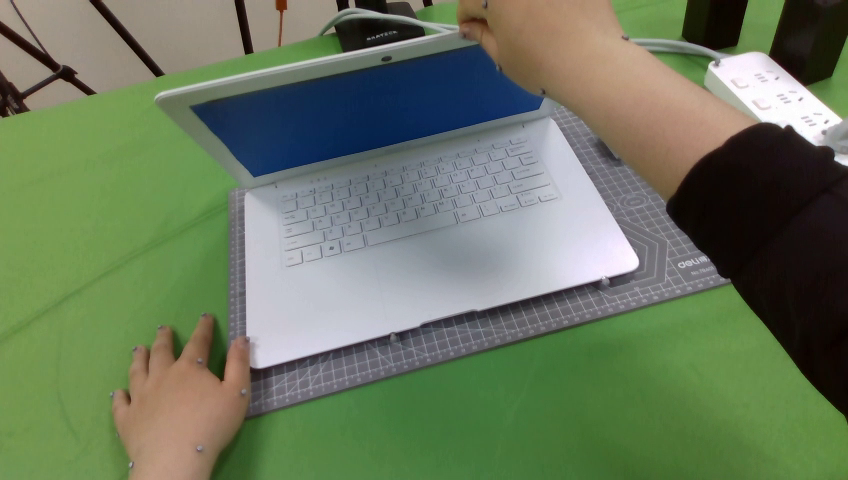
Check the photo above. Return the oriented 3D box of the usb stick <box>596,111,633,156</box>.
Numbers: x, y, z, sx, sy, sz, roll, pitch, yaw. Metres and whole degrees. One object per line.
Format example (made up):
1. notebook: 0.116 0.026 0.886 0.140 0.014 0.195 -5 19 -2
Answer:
1. usb stick: 0.202 -0.119 0.651 0.021 0.027 0.058 -17 45 0

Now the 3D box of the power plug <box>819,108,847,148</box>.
1. power plug: 0.411 -0.102 0.566 0.072 0.053 0.035 -6 49 5

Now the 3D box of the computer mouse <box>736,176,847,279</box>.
1. computer mouse: 0.333 -0.018 0.528 0.063 0.041 0.116 -20 42 -5

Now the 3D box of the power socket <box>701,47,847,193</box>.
1. power socket: 0.371 -0.134 0.630 0.072 0.033 0.224 -14 46 -1

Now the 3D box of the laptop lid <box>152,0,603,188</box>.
1. laptop lid: -0.032 -0.121 0.561 0.357 0.242 0.013 -15 81 -1

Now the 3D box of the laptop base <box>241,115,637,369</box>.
1. laptop base: -0.004 -0.012 0.601 0.354 0.023 0.233 -15 50 -3
